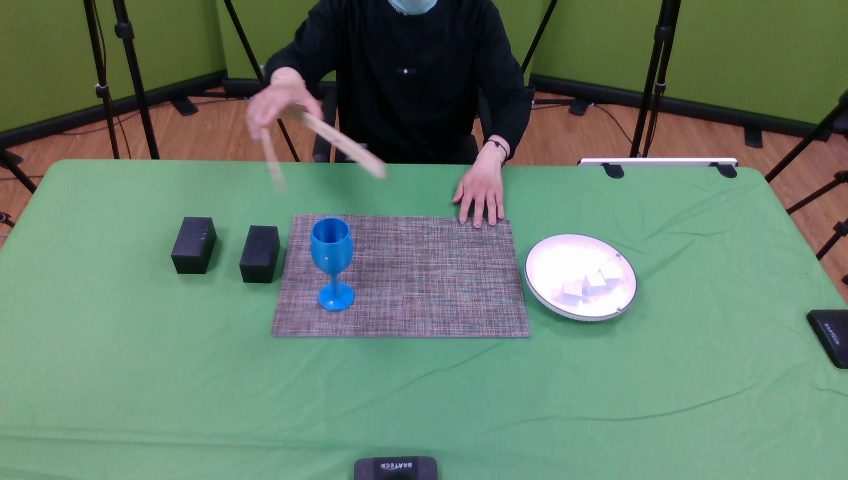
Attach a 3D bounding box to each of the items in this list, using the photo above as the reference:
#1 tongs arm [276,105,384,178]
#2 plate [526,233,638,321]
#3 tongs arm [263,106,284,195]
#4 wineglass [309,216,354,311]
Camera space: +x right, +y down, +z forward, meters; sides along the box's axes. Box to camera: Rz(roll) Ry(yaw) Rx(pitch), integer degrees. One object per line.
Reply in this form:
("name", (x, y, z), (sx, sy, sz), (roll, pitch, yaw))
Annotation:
("tongs arm", (-0.166, -0.168, 0.989), (0.051, 0.026, 0.382), (-16, 31, -23))
("plate", (0.292, 0.071, 1.135), (0.209, 0.038, 0.208), (2, 46, -2))
("tongs arm", (-0.237, -0.153, 0.962), (0.028, 0.028, 0.385), (-13, 29, -11))
("wineglass", (-0.155, 0.043, 1.032), (0.074, 0.173, 0.073), (2, 46, -2))
